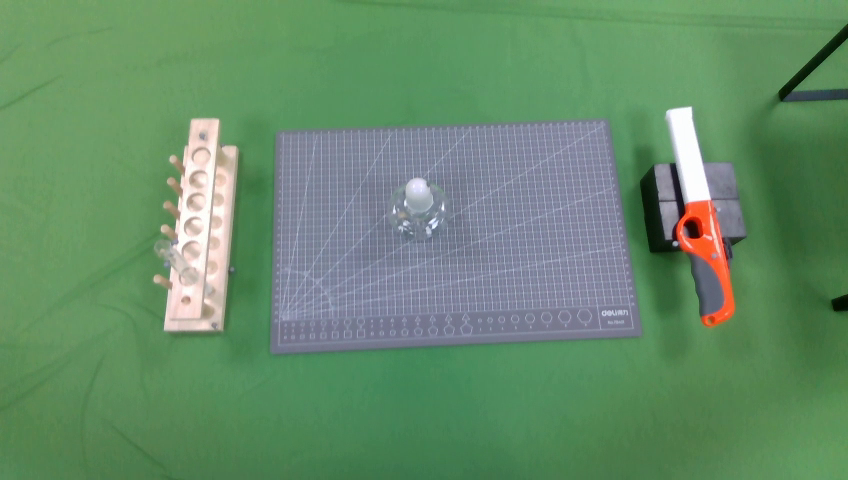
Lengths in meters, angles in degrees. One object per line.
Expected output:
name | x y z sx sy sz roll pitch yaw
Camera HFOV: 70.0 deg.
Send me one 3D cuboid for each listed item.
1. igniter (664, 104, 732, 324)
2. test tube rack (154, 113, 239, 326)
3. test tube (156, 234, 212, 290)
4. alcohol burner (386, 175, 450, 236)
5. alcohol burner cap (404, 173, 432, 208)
igniter | 0.327 -0.037 0.728 0.057 0.025 0.274 -5 72 8
test tube rack | -0.275 -0.024 0.726 0.067 0.085 0.241 0 73 -1
test tube | -0.258 0.027 0.660 0.017 0.151 0.017 1 69 -2
alcohol burner | -0.008 -0.048 0.723 0.078 0.119 0.077 0 74 0
alcohol burner cap | -0.008 -0.059 0.689 0.034 0.048 0.033 0 72 2
